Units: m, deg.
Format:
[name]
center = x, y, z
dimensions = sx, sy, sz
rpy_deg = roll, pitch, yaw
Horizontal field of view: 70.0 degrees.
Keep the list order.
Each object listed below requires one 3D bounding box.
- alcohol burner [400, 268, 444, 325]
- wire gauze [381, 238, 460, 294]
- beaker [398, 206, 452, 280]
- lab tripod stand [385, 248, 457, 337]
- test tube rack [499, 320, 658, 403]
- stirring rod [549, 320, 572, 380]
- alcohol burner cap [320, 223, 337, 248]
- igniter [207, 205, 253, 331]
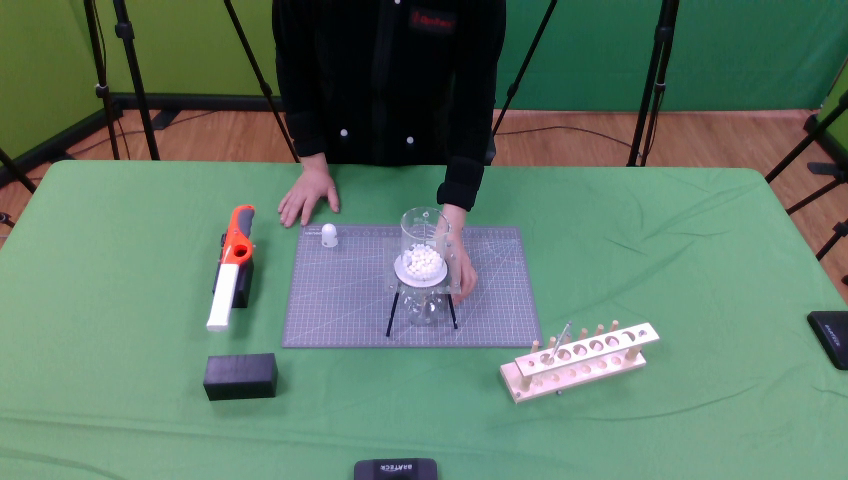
[alcohol burner]
center = -0.003, 0.092, 1.042
dimensions = 0.078, 0.120, 0.077
rpy_deg = 1, 46, -1
[wire gauze]
center = -0.008, 0.042, 0.985
dimensions = 0.125, 0.011, 0.120
rpy_deg = -1, 43, -2
[beaker]
center = 0.000, 0.008, 0.950
dimensions = 0.084, 0.101, 0.073
rpy_deg = 10, 45, 6
[lab tripod stand]
center = -0.010, 0.087, 1.032
dimensions = 0.148, 0.132, 0.147
rpy_deg = 1, 45, -1
[test tube rack]
center = 0.252, 0.187, 0.994
dimensions = 0.243, 0.085, 0.066
rpy_deg = -12, 48, -15
[stirring rod]
center = 0.202, 0.167, 0.901
dimensions = 0.006, 0.177, 0.014
rpy_deg = -17, 55, -11
[alcohol burner cap]
center = -0.187, -0.011, 1.176
dimensions = 0.034, 0.048, 0.033
rpy_deg = 2, 46, -1
[igniter]
center = -0.339, 0.038, 1.066
dimensions = 0.057, 0.025, 0.274
rpy_deg = 2, 48, -6
